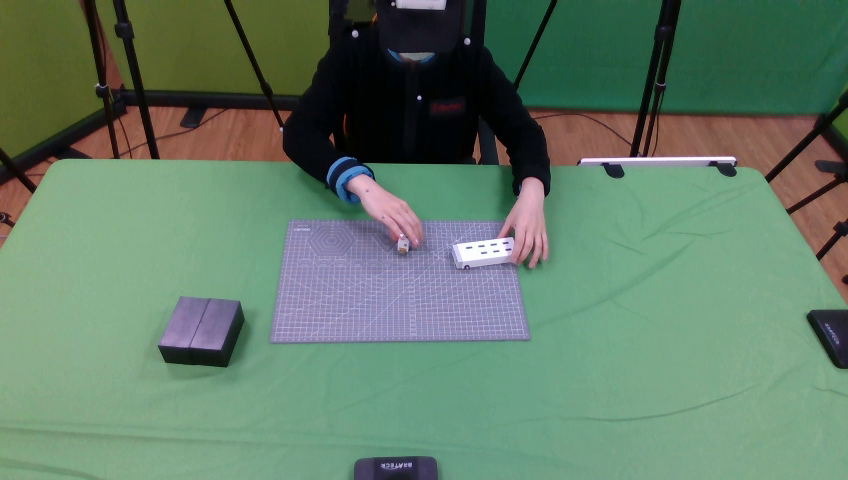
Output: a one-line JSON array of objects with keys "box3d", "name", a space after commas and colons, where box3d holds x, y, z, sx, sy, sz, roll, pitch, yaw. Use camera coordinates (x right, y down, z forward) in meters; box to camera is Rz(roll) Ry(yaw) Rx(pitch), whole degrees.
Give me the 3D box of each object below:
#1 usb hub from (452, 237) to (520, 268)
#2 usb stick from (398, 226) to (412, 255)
[{"box3d": [0.120, 0.025, 1.176, 0.125, 0.025, 0.049, -7, 47, -10], "name": "usb hub"}, {"box3d": [-0.039, 0.003, 1.185, 0.021, 0.027, 0.059, 9, 49, 5], "name": "usb stick"}]
